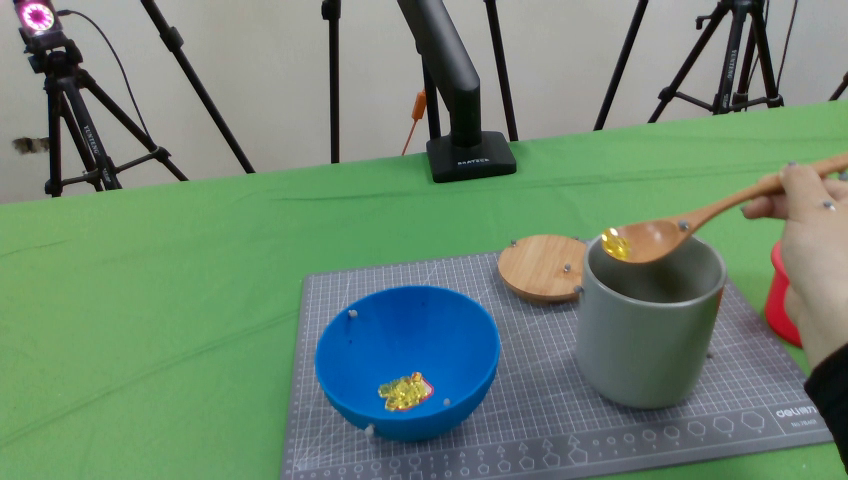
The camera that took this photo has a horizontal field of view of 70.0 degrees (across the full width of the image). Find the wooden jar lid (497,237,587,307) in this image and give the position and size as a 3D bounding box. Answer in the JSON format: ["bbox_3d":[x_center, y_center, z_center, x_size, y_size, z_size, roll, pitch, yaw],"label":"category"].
[{"bbox_3d":[0.133,0.035,0.653,0.108,0.021,0.107,-4,34,3],"label":"wooden jar lid"}]

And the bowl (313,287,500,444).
[{"bbox_3d":[-0.011,0.116,0.507,0.151,0.077,0.150,-4,36,3],"label":"bowl"}]

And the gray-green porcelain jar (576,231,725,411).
[{"bbox_3d":[0.181,0.069,0.504,0.106,0.127,0.105,-4,36,3],"label":"gray-green porcelain jar"}]

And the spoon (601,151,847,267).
[{"bbox_3d":[0.220,-0.025,0.425,0.193,0.022,0.041,-25,37,14],"label":"spoon"}]
